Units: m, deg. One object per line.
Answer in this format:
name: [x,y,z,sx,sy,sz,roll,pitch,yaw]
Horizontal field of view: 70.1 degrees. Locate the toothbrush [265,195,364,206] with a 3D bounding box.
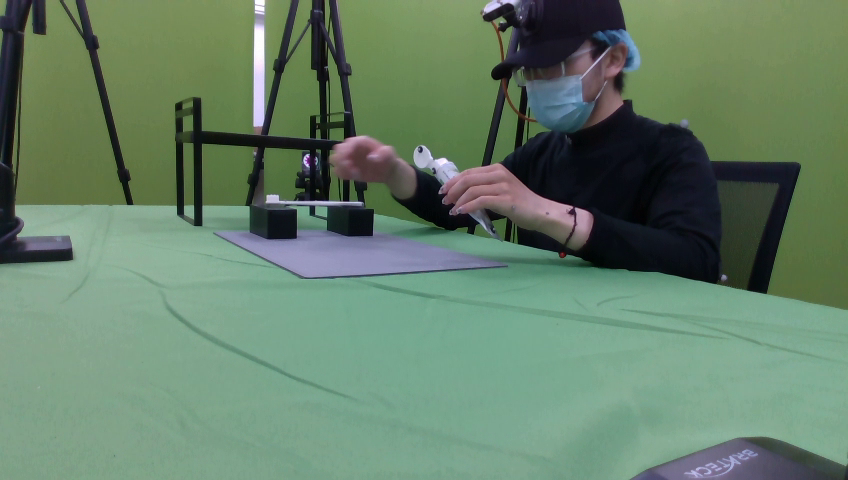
toothbrush: [-0.194,-0.069,1.090,0.183,0.016,0.014,0,-7,-27]

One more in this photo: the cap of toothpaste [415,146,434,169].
cap of toothpaste: [0.001,-0.126,0.917,0.037,0.037,0.011,9,17,42]

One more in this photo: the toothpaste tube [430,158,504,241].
toothpaste tube: [0.060,-0.064,0.885,0.055,0.034,0.164,19,30,-56]
